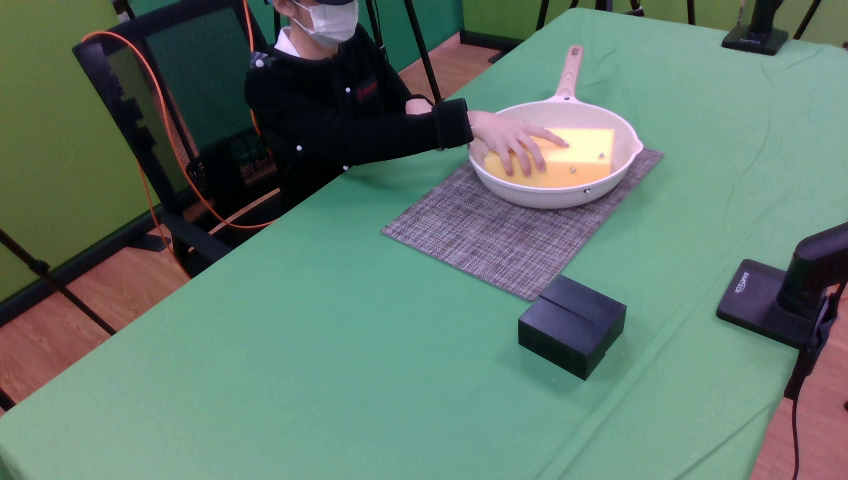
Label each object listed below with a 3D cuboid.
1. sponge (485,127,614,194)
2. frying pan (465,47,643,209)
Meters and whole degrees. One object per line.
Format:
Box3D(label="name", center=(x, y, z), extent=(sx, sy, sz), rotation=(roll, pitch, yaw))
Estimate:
Box3D(label="sponge", center=(0.221, -0.142, 1.052), extent=(0.206, 0.061, 0.118), rotation=(4, 40, 16))
Box3D(label="frying pan", center=(0.255, -0.227, 1.135), extent=(0.305, 0.103, 0.487), rotation=(9, 51, 17))
